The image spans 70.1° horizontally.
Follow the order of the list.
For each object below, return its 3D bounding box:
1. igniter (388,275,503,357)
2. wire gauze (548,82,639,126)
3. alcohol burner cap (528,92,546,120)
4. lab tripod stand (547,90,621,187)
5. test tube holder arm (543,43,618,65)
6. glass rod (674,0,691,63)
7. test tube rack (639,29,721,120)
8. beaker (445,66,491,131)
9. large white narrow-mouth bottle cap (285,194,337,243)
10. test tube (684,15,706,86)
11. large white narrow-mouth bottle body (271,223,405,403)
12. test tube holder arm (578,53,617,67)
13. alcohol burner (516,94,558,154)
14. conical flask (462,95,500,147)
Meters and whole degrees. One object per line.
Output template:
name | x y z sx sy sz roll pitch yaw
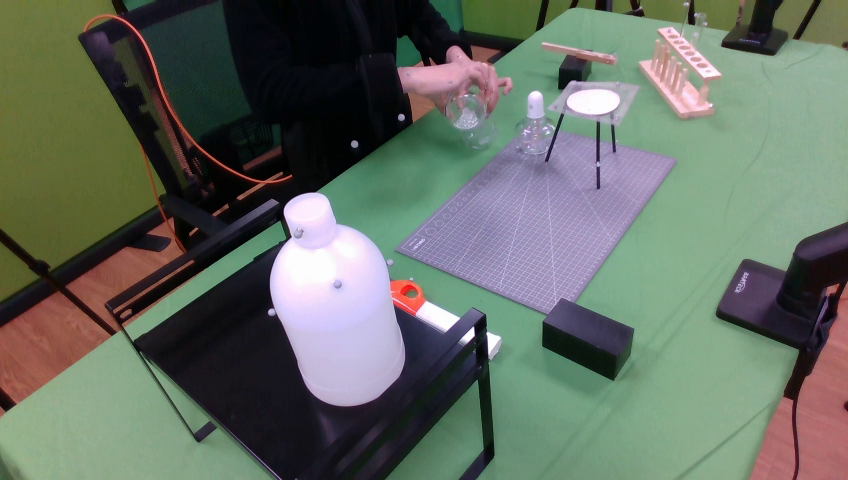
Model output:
igniter | -0.008 0.093 0.870 0.274 0.025 0.057 24 60 33
wire gauze | 0.286 -0.235 1.019 0.124 0.011 0.121 16 46 28
alcohol burner cap | 0.206 -0.249 1.112 0.034 0.048 0.033 -6 36 4
lab tripod stand | 0.289 -0.184 1.062 0.148 0.132 0.147 -6 41 6
test tube holder arm | 0.344 -0.413 1.340 0.177 0.015 0.013 25 51 31
glass rod | 0.537 -0.437 1.257 0.008 0.200 0.008 0 39 1
test tube rack | 0.527 -0.351 1.262 0.067 0.085 0.241 -8 40 1
beaker | 0.075 -0.237 1.029 0.074 0.084 0.100 1 39 9
large white narrow-mouth bottle cap | -0.087 -0.017 0.467 0.038 0.024 0.037 -4 40 4
test tube | 0.541 -0.378 1.215 0.017 0.151 0.017 -2 44 3
large white narrow-mouth bottle body | -0.077 0.048 0.525 0.102 0.195 0.101 -5 40 5
test tube holder arm | 0.376 -0.393 1.314 0.087 0.015 0.010 26 51 32
alcohol burner | 0.212 -0.222 1.134 0.078 0.119 0.077 -5 43 5
conical flask | 0.101 -0.230 1.144 0.075 0.122 0.075 -3 76 13
